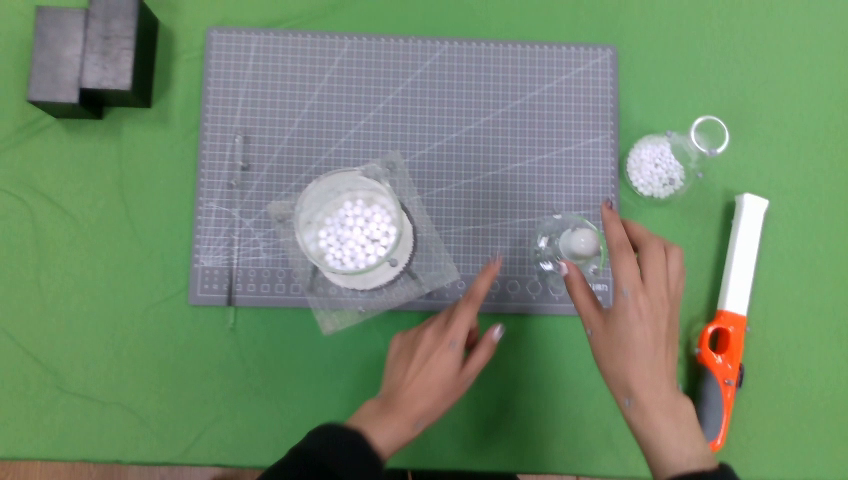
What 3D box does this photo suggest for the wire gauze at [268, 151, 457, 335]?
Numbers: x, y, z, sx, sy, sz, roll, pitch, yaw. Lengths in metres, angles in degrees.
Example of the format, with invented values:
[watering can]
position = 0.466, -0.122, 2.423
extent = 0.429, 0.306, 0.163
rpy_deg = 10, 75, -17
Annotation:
[wire gauze]
position = -0.052, 0.002, 0.508
extent = 0.125, 0.011, 0.121
rpy_deg = -23, 87, -7

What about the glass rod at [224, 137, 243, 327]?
[glass rod]
position = -0.198, -0.010, 0.631
extent = 0.008, 0.008, 0.199
rpy_deg = 3, 86, -2

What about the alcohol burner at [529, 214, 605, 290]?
[alcohol burner]
position = 0.143, 0.009, 0.592
extent = 0.078, 0.119, 0.077
rpy_deg = 0, 81, 0

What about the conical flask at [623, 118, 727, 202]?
[conical flask]
position = 0.255, -0.085, 0.608
extent = 0.075, 0.122, 0.075
rpy_deg = 0, 82, -2

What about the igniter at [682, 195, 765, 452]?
[igniter]
position = 0.317, 0.087, 0.637
extent = 0.057, 0.025, 0.276
rpy_deg = 16, 82, -11

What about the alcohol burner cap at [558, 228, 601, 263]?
[alcohol burner cap]
position = 0.145, 0.004, 0.556
extent = 0.034, 0.048, 0.034
rpy_deg = 0, 88, -4

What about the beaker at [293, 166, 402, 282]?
[beaker]
position = -0.052, -0.008, 0.461
extent = 0.074, 0.100, 0.084
rpy_deg = 24, 82, 0

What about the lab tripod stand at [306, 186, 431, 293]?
[lab tripod stand]
position = -0.055, 0.010, 0.573
extent = 0.148, 0.131, 0.148
rpy_deg = 0, 84, -2
